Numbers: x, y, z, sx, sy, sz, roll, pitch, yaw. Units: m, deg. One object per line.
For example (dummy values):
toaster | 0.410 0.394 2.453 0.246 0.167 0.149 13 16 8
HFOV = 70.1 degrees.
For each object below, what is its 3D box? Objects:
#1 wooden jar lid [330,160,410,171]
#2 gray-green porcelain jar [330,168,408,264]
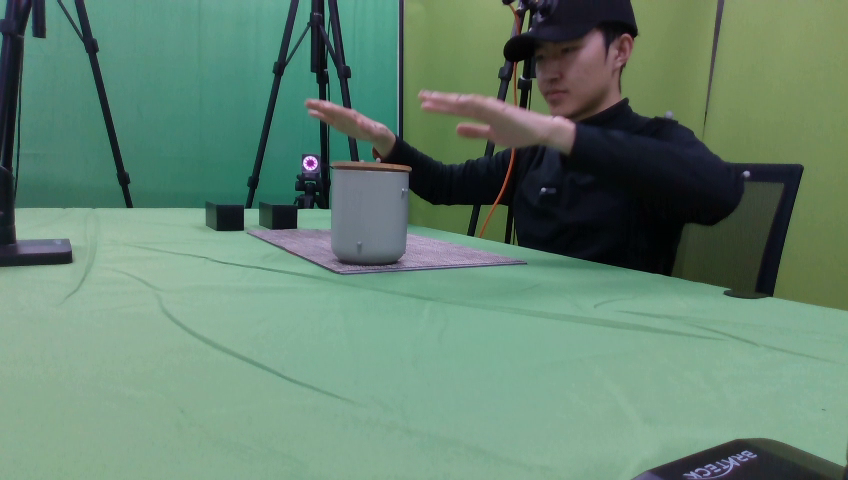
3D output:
wooden jar lid | -0.074 -0.096 0.825 0.108 0.020 0.108 3 3 0
gray-green porcelain jar | -0.075 -0.035 0.833 0.106 0.126 0.106 2 7 0
